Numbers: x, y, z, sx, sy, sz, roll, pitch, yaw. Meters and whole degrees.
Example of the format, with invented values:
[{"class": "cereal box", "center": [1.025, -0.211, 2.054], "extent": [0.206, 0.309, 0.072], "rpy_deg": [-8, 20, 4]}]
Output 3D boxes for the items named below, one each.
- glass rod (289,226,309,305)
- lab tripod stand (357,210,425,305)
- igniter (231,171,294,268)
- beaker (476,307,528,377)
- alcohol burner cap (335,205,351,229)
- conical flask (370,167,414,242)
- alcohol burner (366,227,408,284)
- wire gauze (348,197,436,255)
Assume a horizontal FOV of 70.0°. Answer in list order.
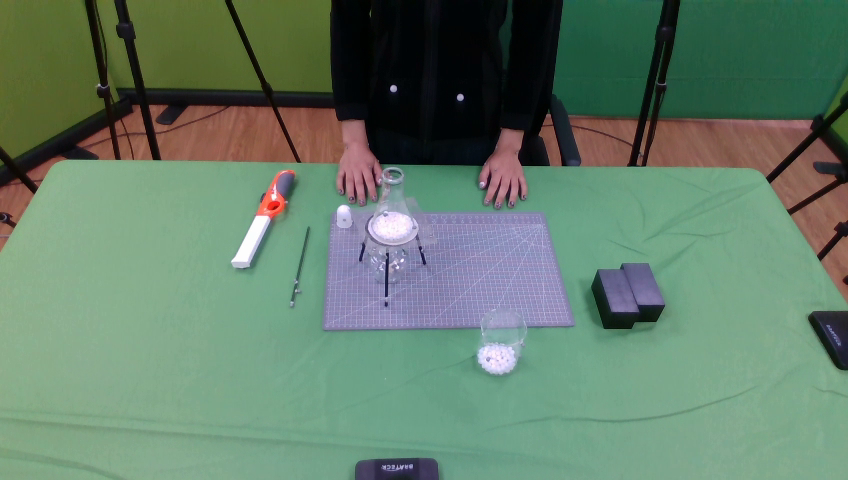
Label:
[{"class": "glass rod", "center": [-0.235, 0.043, 1.149], "extent": [0.008, 0.008, 0.198], "rpy_deg": [3, 46, -1]}, {"class": "lab tripod stand", "center": [-0.060, 0.020, 1.094], "extent": [0.148, 0.132, 0.147], "rpy_deg": [3, 44, -2]}, {"class": "igniter", "center": [-0.321, -0.051, 1.220], "extent": [0.057, 0.025, 0.275], "rpy_deg": [1, 45, 11]}, {"class": "beaker", "center": [0.122, 0.171, 0.991], "extent": [0.084, 0.101, 0.073], "rpy_deg": [-34, 56, -31]}, {"class": "alcohol burner cap", "center": [-0.164, -0.049, 1.216], "extent": [0.034, 0.048, 0.033], "rpy_deg": [2, 45, -1]}, {"class": "conical flask", "center": [-0.053, -0.062, 1.000], "extent": [0.075, 0.122, 0.075], "rpy_deg": [2, 44, -2]}, {"class": "alcohol burner", "center": [-0.068, 0.024, 1.104], "extent": [0.078, 0.120, 0.077], "rpy_deg": [1, 46, -1]}, {"class": "wire gauze", "center": [-0.056, -0.025, 1.046], "extent": [0.125, 0.011, 0.120], "rpy_deg": [-14, 46, -15]}]
